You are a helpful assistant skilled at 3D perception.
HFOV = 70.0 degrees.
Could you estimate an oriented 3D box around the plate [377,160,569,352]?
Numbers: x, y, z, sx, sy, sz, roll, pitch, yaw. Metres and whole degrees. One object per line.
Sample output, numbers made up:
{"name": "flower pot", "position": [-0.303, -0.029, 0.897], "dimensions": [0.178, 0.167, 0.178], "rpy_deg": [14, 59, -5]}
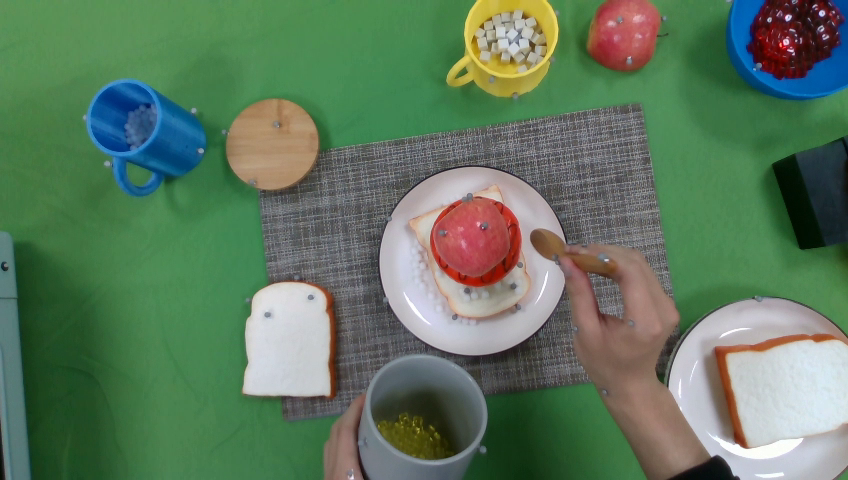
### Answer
{"name": "plate", "position": [0.053, 0.018, 0.667], "dimensions": [0.207, 0.039, 0.207], "rpy_deg": [0, 86, 4]}

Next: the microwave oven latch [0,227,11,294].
{"name": "microwave oven latch", "position": [-0.494, 0.023, 0.691], "dimensions": [0.030, 0.029, 0.079], "rpy_deg": [-4, 86, 4]}

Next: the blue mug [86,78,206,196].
{"name": "blue mug", "position": [-0.308, -0.105, 0.672], "dimensions": [0.082, 0.106, 0.116], "rpy_deg": [13, 87, 5]}

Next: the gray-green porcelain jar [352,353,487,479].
{"name": "gray-green porcelain jar", "position": [-0.010, 0.182, 0.552], "dimensions": [0.106, 0.127, 0.105], "rpy_deg": [9, 43, -8]}

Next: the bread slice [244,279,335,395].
{"name": "bread slice", "position": [-0.154, 0.110, 0.687], "dimensions": [0.105, 0.019, 0.131], "rpy_deg": [-1, 87, 4]}

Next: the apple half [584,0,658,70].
{"name": "apple half", "position": [0.219, -0.236, 0.669], "dimensions": [0.074, 0.053, 0.080], "rpy_deg": [15, 87, 8]}

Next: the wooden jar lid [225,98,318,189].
{"name": "wooden jar lid", "position": [-0.175, -0.110, 0.703], "dimensions": [0.108, 0.021, 0.108], "rpy_deg": [-1, 83, 5]}

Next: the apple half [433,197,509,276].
{"name": "apple half", "position": [0.047, -0.004, 0.605], "dimensions": [0.081, 0.033, 0.081], "rpy_deg": [-1, 84, 12]}

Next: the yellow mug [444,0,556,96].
{"name": "yellow mug", "position": [0.079, -0.210, 0.671], "dimensions": [0.131, 0.064, 0.099], "rpy_deg": [-32, 84, 2]}

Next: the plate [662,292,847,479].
{"name": "plate", "position": [0.354, 0.159, 0.639], "dimensions": [0.209, 0.038, 0.208], "rpy_deg": [0, 86, 4]}

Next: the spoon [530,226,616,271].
{"name": "spoon", "position": [0.120, 0.011, 0.502], "dimensions": [0.021, 0.193, 0.042], "rpy_deg": [-40, 96, 3]}

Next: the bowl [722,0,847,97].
{"name": "bowl", "position": [0.384, -0.216, 0.643], "dimensions": [0.151, 0.077, 0.151], "rpy_deg": [0, 86, 5]}

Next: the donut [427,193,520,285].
{"name": "donut", "position": [0.053, -0.001, 0.641], "dimensions": [0.099, 0.048, 0.099], "rpy_deg": [0, 87, 5]}

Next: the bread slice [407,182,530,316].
{"name": "bread slice", "position": [0.057, 0.015, 0.668], "dimensions": [0.107, 0.018, 0.134], "rpy_deg": [-25, 85, 2]}

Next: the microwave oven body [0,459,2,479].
{"name": "microwave oven body", "position": [-0.624, 0.211, 0.591], "dimensions": [0.326, 0.260, 0.440], "rpy_deg": [-8, 86, 3]}

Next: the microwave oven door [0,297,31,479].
{"name": "microwave oven door", "position": [-0.475, 0.233, 0.574], "dimensions": [0.039, 0.244, 0.355], "rpy_deg": [-8, 85, 4]}
